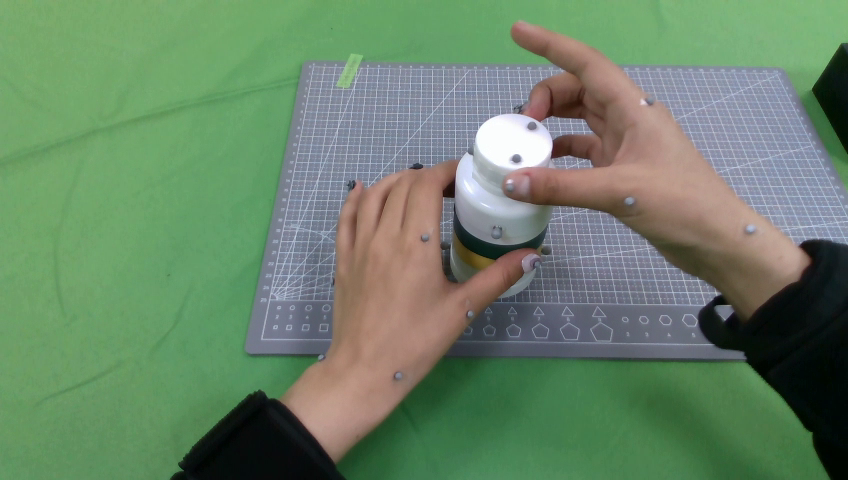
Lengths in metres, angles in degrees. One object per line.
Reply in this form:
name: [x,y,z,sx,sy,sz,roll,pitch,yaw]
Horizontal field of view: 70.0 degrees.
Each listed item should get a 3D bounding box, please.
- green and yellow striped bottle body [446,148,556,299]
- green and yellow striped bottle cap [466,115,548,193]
green and yellow striped bottle body: [0.047,-0.017,0.388,0.063,0.120,0.062,0,55,0]
green and yellow striped bottle cap: [0.047,-0.049,0.343,0.045,0.020,0.045,2,55,-2]
